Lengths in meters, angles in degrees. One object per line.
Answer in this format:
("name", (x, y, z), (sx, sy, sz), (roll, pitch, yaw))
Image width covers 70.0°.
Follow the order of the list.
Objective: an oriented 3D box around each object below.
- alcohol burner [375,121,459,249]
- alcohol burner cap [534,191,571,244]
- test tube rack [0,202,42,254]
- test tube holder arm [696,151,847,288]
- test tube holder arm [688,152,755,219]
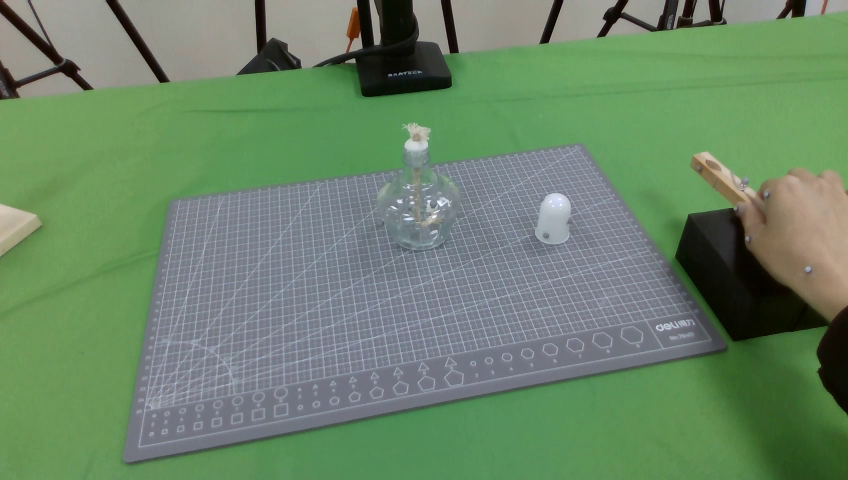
("alcohol burner", (-0.007, -0.052, 0.541), (0.078, 0.120, 0.077), (-2, 41, 2))
("alcohol burner cap", (0.120, -0.023, 0.559), (0.034, 0.048, 0.033), (-2, 42, 2))
("test tube rack", (-0.460, 0.019, 0.507), (0.066, 0.086, 0.241), (15, 45, 18))
("test tube holder arm", (0.284, -0.024, 0.502), (0.013, 0.015, 0.176), (-23, 44, -5))
("test tube holder arm", (0.264, -0.049, 0.534), (0.010, 0.015, 0.087), (-22, 43, -4))
